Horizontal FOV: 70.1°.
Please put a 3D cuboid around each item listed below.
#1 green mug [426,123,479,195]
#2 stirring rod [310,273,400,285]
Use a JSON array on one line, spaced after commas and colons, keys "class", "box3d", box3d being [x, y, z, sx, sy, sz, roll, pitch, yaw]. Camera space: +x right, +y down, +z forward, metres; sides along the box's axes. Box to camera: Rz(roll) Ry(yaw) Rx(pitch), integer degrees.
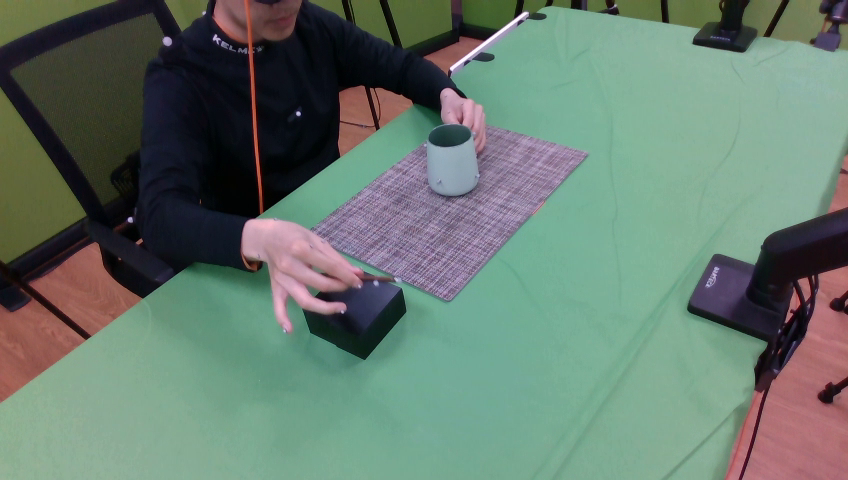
[{"class": "green mug", "box3d": [0.053, -0.151, 1.067, 0.092, 0.105, 0.125, 5, 42, 14]}, {"class": "stirring rod", "box3d": [-0.095, 0.050, 0.793, 0.175, 0.014, 0.006, 0, 73, 44]}]
